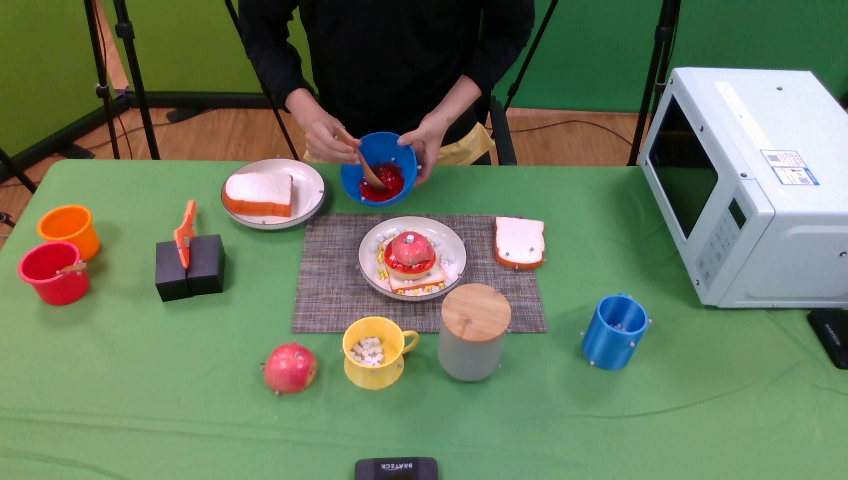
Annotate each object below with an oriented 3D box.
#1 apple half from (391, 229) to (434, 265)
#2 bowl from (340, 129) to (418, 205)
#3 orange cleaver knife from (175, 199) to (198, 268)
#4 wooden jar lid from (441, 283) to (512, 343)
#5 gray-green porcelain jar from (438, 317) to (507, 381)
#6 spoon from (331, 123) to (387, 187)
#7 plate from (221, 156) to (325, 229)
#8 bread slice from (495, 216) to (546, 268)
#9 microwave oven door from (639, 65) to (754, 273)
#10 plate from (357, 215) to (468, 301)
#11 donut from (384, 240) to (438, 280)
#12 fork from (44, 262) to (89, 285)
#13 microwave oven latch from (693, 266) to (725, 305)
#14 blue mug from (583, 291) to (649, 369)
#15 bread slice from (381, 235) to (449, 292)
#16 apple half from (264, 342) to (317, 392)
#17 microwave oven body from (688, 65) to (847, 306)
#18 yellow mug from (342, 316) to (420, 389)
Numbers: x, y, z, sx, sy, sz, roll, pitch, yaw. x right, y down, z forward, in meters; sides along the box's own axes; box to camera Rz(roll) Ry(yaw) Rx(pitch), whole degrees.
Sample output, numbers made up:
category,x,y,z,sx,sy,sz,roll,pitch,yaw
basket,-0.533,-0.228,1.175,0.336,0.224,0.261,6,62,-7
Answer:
category,x,y,z,sx,sy,sz,roll,pitch,yaw
apple half,-0.021,0.005,1.083,0.081,0.033,0.081,7,49,-7
bowl,-0.077,-0.127,1.160,0.151,0.077,0.150,-4,71,13
orange cleaver knife,-0.438,-0.017,1.138,0.012,0.077,0.210,-14,27,-7
wooden jar lid,0.080,0.114,0.931,0.108,0.021,0.107,1,49,-1
gray-green porcelain jar,0.076,0.158,0.977,0.106,0.127,0.105,2,47,-2
spoon,-0.117,-0.150,1.088,0.041,0.195,0.021,20,69,33
plate,-0.308,-0.095,1.251,0.209,0.038,0.208,3,47,-3
bread slice,0.194,0.002,1.205,0.105,0.019,0.131,5,45,2
microwave oven door,0.522,-0.147,1.192,0.039,0.245,0.353,0,47,-3
plate,-0.022,0.037,1.141,0.208,0.039,0.206,2,46,-2
donut,-0.025,0.030,1.110,0.099,0.048,0.098,2,46,-2
fork,-0.598,0.054,1.014,0.207,0.019,0.028,-15,28,45
microwave oven latch,0.523,0.082,1.115,0.030,0.029,0.078,3,46,0
blue mug,0.324,0.142,1.023,0.082,0.106,0.116,15,47,11
bread slice,-0.027,0.040,1.141,0.107,0.018,0.133,-12,49,-15
apple half,-0.214,0.198,0.970,0.074,0.053,0.080,19,48,10
microwave oven body,0.669,-0.111,1.176,0.326,0.261,0.439,0,46,-3
yellow mug,-0.067,0.178,0.991,0.131,0.064,0.099,-16,50,-19
